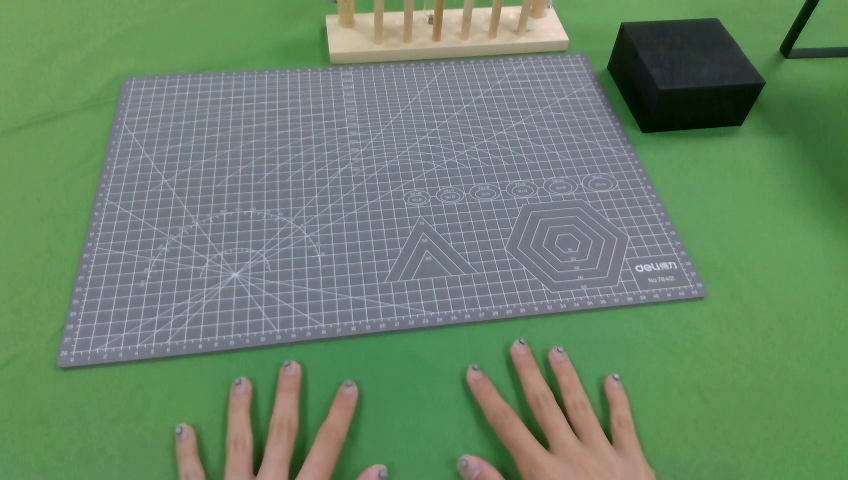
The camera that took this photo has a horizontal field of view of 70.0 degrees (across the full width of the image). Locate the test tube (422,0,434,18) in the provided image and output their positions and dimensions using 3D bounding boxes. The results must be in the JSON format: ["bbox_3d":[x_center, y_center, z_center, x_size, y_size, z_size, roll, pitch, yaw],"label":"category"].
[{"bbox_3d":[0.006,-0.279,0.569,0.017,0.151,0.017,0,49,0],"label":"test tube"}]

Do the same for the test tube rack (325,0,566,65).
[{"bbox_3d":[0.023,-0.236,0.599,0.243,0.086,0.066,-6,53,-8],"label":"test tube rack"}]
